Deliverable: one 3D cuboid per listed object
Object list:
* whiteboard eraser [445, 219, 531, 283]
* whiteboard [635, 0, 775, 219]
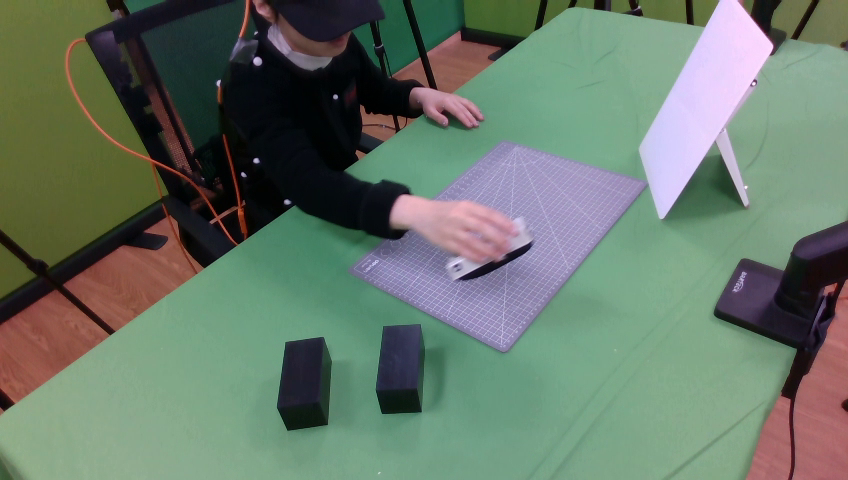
[{"bbox_3d":[0.083,0.018,0.777,0.112,0.042,0.055,-27,17,13],"label":"whiteboard eraser"},{"bbox_3d":[0.486,-0.192,0.956,0.144,0.305,0.216,14,41,-4],"label":"whiteboard"}]
